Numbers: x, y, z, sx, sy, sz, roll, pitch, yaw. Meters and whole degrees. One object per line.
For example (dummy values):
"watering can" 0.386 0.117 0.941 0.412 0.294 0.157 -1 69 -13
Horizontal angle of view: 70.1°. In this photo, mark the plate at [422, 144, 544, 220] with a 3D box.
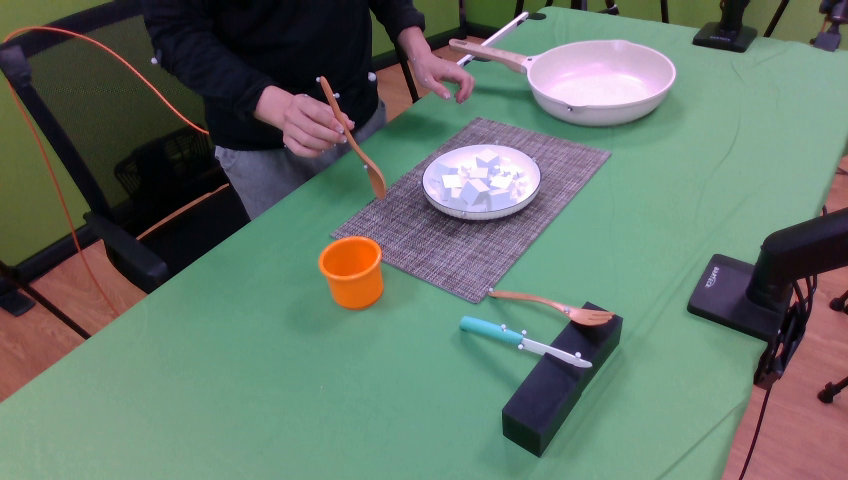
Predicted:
"plate" 0.102 -0.097 1.048 0.207 0.039 0.206 -4 40 4

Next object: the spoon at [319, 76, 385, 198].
"spoon" -0.100 -0.141 0.852 0.022 0.195 0.041 -41 33 -18

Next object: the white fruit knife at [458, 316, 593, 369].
"white fruit knife" 0.120 0.127 0.757 0.205 0.027 0.016 12 43 43

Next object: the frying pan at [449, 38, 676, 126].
"frying pan" 0.272 -0.362 1.287 0.485 0.103 0.307 23 48 19

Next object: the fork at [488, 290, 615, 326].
"fork" 0.160 0.086 0.801 0.205 0.019 0.028 12 47 48
